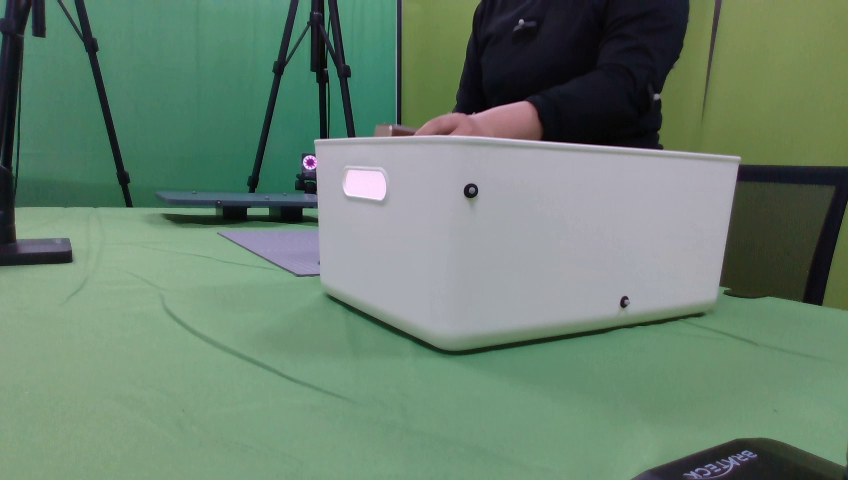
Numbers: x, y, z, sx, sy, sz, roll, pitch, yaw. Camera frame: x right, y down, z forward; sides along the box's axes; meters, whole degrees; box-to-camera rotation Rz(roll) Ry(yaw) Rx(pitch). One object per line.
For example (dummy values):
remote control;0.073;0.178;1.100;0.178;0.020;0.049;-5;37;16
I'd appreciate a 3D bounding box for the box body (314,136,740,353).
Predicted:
box body;0.098;-0.012;0.605;0.366;0.160;0.253;-2;8;-33

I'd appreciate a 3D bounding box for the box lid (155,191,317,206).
box lid;-0.387;-0.091;1.340;0.373;0.015;0.262;-1;8;-30

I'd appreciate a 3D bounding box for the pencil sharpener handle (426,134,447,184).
pencil sharpener handle;0.021;-0.109;0.827;0.031;0.067;0.036;5;17;-27

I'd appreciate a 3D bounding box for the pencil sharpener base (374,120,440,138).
pencil sharpener base;-0.025;-0.100;0.803;0.077;0.107;0.061;5;8;-27
